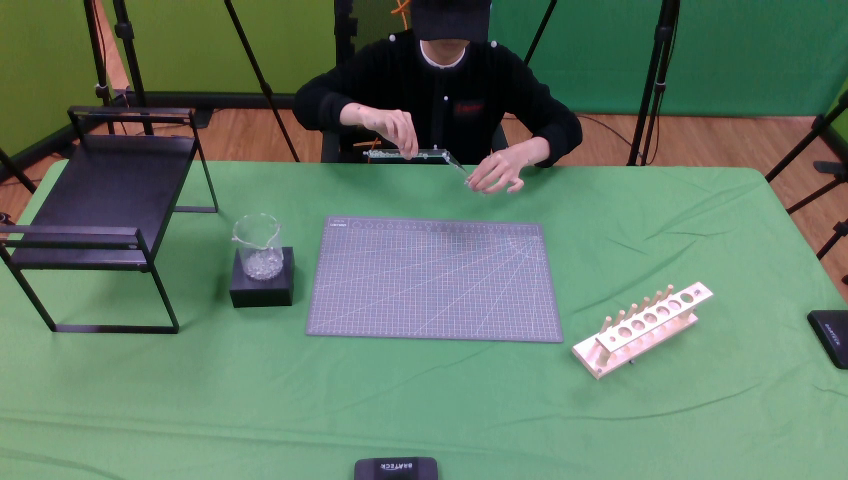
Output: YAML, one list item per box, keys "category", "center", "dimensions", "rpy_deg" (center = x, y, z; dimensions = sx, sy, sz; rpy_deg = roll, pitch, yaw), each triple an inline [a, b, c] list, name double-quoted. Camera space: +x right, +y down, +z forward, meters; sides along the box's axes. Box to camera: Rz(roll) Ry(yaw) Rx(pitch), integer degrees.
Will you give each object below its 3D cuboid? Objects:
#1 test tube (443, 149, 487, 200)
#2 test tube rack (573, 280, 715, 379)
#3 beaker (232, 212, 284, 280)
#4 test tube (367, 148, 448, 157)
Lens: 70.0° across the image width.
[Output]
- category: "test tube"
  center: [0.082, -0.126, 1.183]
  dimensions: [0.017, 0.151, 0.017]
  rpy_deg: [-23, 44, 25]
- category: "test tube rack"
  center: [0.378, 0.140, 1.038]
  dimensions: [0.242, 0.085, 0.066]
  rpy_deg: [-22, 51, -23]
- category: "beaker"
  center: [-0.280, 0.016, 1.037]
  dimensions: [0.074, 0.101, 0.083]
  rpy_deg: [-18, 50, -20]
- category: "test tube"
  center: [-0.030, -0.161, 1.118]
  dimensions: [0.150, 0.017, 0.017]
  rpy_deg: [-2, 46, -12]
